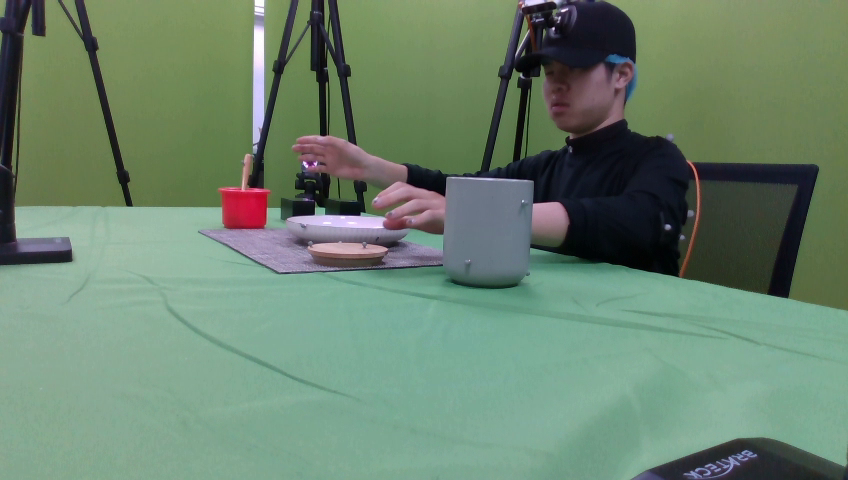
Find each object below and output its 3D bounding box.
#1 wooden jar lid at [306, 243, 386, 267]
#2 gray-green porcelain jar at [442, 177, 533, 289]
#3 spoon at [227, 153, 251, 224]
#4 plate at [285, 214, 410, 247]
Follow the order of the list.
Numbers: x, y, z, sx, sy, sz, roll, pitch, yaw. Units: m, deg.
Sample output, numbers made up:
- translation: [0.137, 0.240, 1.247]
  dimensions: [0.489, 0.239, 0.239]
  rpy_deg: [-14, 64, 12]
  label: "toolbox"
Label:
- translation: [-0.105, 0.020, 0.816]
  dimensions: [0.108, 0.020, 0.108]
  rpy_deg: [1, 7, 0]
  label: "wooden jar lid"
- translation: [0.075, -0.010, 0.727]
  dimensions: [0.106, 0.126, 0.106]
  rpy_deg: [2, 7, 0]
  label: "gray-green porcelain jar"
- translation: [-0.363, -0.107, 1.211]
  dimensions: [0.042, 0.021, 0.193]
  rpy_deg: [-1, 47, -7]
  label: "spoon"
- translation: [-0.127, -0.015, 1.012]
  dimensions: [0.208, 0.039, 0.207]
  rpy_deg: [3, 7, 0]
  label: "plate"
